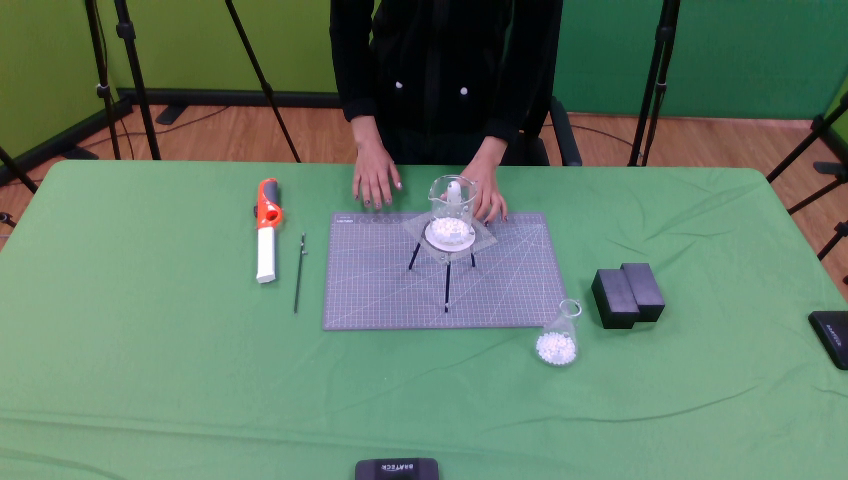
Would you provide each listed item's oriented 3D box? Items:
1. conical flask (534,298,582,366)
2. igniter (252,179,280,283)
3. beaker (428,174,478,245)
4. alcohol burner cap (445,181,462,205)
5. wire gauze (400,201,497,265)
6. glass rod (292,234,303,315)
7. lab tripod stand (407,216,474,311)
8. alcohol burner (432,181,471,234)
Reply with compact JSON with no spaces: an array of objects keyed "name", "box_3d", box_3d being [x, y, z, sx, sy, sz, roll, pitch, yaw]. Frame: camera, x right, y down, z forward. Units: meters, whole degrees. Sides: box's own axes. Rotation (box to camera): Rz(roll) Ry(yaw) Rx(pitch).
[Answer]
[{"name":"conical flask","box_3d":[0.229,0.149,1.005,0.075,0.122,0.075,2,46,-2]},{"name":"igniter","box_3d":[-0.312,-0.027,1.197,0.057,0.025,0.274,-12,47,-1]},{"name":"beaker","box_3d":[0.043,-0.047,1.009,0.084,0.101,0.073,-16,48,-19]},{"name":"alcohol burner cap","box_3d":[0.057,-0.094,1.178,0.034,0.048,0.033,-2,53,3]},{"name":"wire gauze","box_3d":[0.042,-0.013,1.043,0.125,0.011,0.120,-24,49,-23]},{"name":"glass rod","box_3d":[-0.236,0.060,1.134,0.008,0.008,0.198,-1,46,-5]},{"name":"lab tripod stand","box_3d":[0.039,0.030,1.093,0.148,0.132,0.147,2,44,-2]},{"name":"alcohol burner","box_3d":[0.056,-0.070,1.205,0.078,0.120,0.077,1,47,-1]}]
